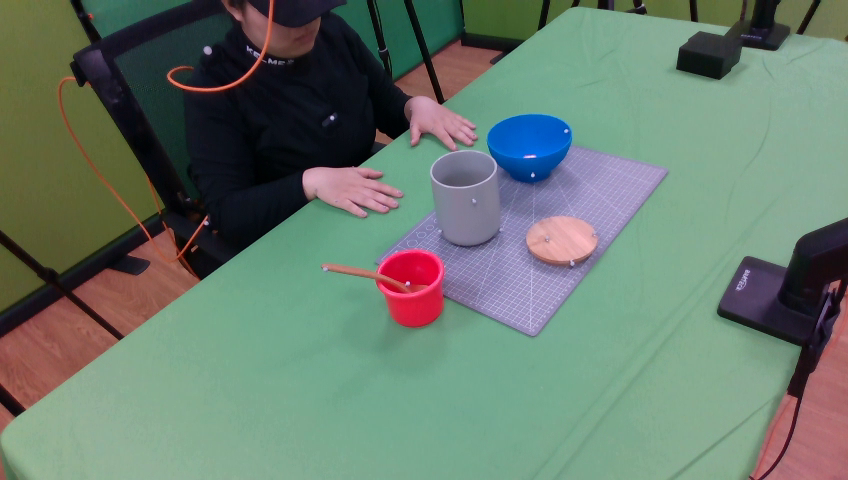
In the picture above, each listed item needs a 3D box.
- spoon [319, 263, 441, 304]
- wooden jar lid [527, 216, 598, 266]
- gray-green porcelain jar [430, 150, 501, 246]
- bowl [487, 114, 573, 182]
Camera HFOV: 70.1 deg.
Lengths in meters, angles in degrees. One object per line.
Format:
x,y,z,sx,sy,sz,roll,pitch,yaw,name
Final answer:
-0.056,0.056,0.833,0.195,0.021,0.041,22,27,-35,spoon
0.214,0.003,0.937,0.108,0.021,0.108,-4,40,4,wooden jar lid
0.068,-0.062,0.959,0.106,0.127,0.105,-5,40,5,gray-green porcelain jar
0.190,-0.156,1.085,0.151,0.077,0.150,-5,40,5,bowl
